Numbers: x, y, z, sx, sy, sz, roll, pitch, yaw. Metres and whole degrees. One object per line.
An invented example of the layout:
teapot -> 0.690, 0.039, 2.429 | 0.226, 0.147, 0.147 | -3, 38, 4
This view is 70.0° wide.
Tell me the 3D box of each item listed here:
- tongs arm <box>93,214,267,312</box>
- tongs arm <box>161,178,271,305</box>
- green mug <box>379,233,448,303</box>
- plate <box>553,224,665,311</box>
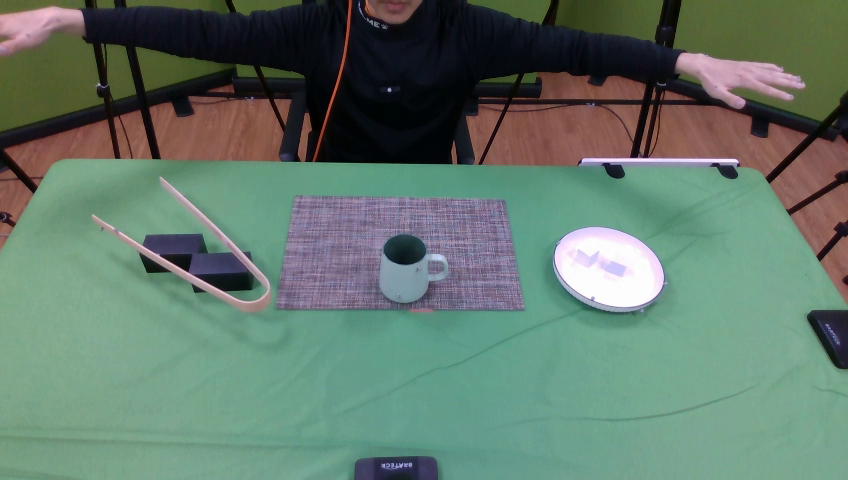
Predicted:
tongs arm -> -0.434, 0.031, 1.063 | 0.383, 0.026, 0.050 | 28, 47, 21
tongs arm -> -0.386, -0.009, 1.108 | 0.028, 0.028, 0.385 | -29, 54, -36
green mug -> -0.019, 0.050, 1.084 | 0.125, 0.105, 0.092 | -1, 46, -4
plate -> 0.349, 0.055, 1.159 | 0.209, 0.038, 0.208 | 2, 47, -2
